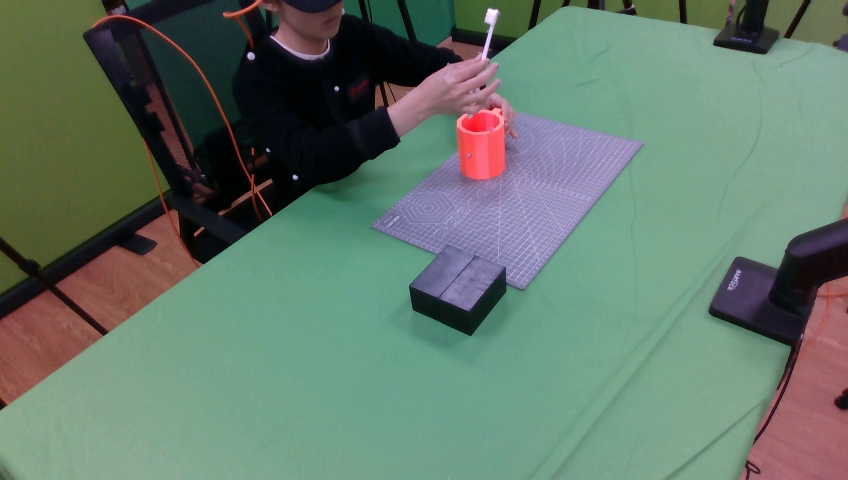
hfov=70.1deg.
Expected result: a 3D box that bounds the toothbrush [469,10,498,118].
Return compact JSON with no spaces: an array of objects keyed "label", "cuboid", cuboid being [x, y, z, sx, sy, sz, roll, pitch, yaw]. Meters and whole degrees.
[{"label":"toothbrush","cuboid":[0.092,-0.279,0.972,0.016,0.182,0.014,17,40,8]}]

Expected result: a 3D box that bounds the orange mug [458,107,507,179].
[{"label":"orange mug","cuboid":[0.117,-0.187,1.112,0.083,0.101,0.126,19,52,28]}]
